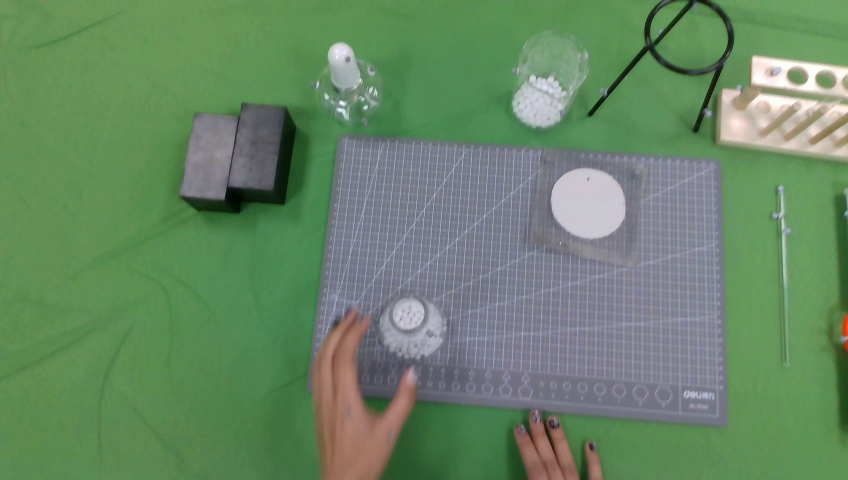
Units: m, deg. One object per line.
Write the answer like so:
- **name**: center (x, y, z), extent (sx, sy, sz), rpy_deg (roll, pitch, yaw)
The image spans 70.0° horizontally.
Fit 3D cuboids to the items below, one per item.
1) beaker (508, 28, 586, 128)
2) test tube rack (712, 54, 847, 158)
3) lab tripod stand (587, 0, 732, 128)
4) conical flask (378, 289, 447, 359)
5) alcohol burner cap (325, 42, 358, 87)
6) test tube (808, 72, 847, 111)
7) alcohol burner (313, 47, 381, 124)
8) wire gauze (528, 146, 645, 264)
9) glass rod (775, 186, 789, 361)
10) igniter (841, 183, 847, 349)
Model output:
- **beaker**: center (0.135, -0.175, 0.685), extent (0.074, 0.100, 0.083), rpy_deg (-13, 77, -2)
- **test tube rack**: center (0.465, -0.143, 0.680), extent (0.242, 0.085, 0.066), rpy_deg (8, 76, 3)
- **lab tripod stand**: center (0.262, -0.192, 0.669), extent (0.148, 0.132, 0.147), rpy_deg (0, 78, 2)
- **conical flask**: center (-0.014, 0.079, 0.611), extent (0.075, 0.122, 0.075), rpy_deg (0, 76, 1)
- **alcohol burner cap**: center (-0.089, -0.190, 0.646), extent (0.034, 0.048, 0.033), rpy_deg (0, 70, -1)
- **test tube**: center (0.450, -0.171, 0.636), extent (0.017, 0.151, 0.017), rpy_deg (-1, 76, 4)
- **alcohol burner**: center (-0.089, -0.179, 0.680), extent (0.078, 0.119, 0.077), rpy_deg (-1, 77, 3)
- **wire gauze**: center (0.187, -0.043, 0.697), extent (0.125, 0.011, 0.121), rpy_deg (13, 77, 1)
- **glass rod**: center (0.400, 0.034, 0.678), extent (0.008, 0.008, 0.198), rpy_deg (5, 76, 2)
- **igniter**: center (0.480, 0.069, 0.660), extent (0.057, 0.025, 0.275), rpy_deg (8, 77, -7)
